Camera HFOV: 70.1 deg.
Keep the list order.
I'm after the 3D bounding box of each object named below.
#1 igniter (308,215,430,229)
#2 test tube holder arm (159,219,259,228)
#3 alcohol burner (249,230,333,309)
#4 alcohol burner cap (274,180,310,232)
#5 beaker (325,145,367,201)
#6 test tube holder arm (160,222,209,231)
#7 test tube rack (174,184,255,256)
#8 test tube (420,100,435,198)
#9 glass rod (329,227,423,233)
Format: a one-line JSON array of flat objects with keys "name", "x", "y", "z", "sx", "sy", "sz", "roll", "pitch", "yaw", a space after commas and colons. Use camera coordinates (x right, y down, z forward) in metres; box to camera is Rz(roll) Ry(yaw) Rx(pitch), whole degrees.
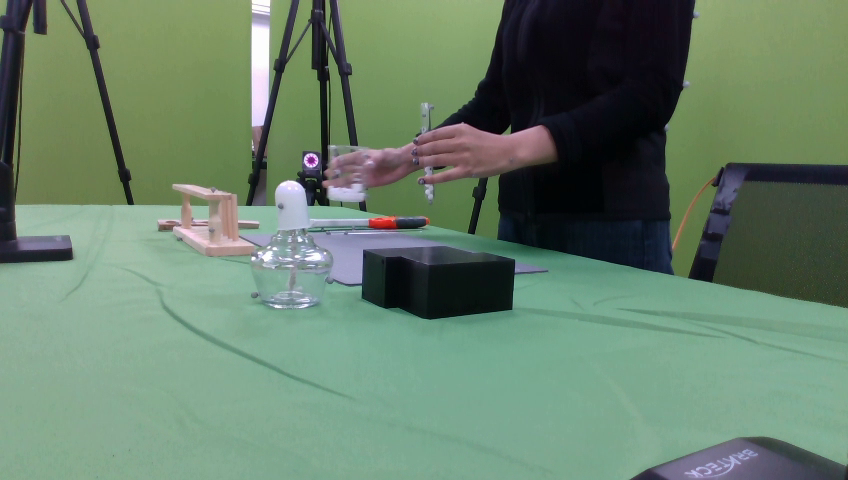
[{"name": "igniter", "x": -0.108, "y": -0.037, "z": 1.228, "sx": 0.278, "sy": 0.025, "sz": 0.057, "roll": -3, "pitch": -1, "yaw": -35}, {"name": "test tube holder arm", "x": -0.390, "y": -0.030, "z": 1.107, "sx": 0.179, "sy": 0.015, "sz": 0.013, "roll": -3, "pitch": 44, "yaw": -39}, {"name": "alcohol burner", "x": -0.125, "y": 0.004, "z": 0.568, "sx": 0.078, "sy": 0.119, "sz": 0.078, "roll": 2, "pitch": 9, "yaw": 0}, {"name": "alcohol burner cap", "x": -0.125, "y": -0.032, "z": 0.563, "sx": 0.034, "sy": 0.048, "sz": 0.034, "roll": -5, "pitch": 6, "yaw": 1}, {"name": "beaker", "x": -0.147, "y": -0.123, "z": 1.107, "sx": 0.073, "sy": 0.100, "sz": 0.084, "roll": 9, "pitch": 10, "yaw": 40}, {"name": "test tube holder arm", "x": -0.423, "y": -0.024, "z": 1.075, "sx": 0.088, "sy": 0.015, "sz": 0.010, "roll": -3, "pitch": 44, "yaw": -38}, {"name": "test tube rack", "x": -0.327, "y": -0.036, "z": 0.928, "sx": 0.067, "sy": 0.085, "sz": 0.241, "roll": -2, "pitch": 9, "yaw": -32}, {"name": "test tube", "x": 0.005, "y": -0.139, "z": 0.927, "sx": 0.017, "sy": 0.150, "sz": 0.017, "roll": -3, "pitch": -1, "yaw": 0}, {"name": "glass rod", "x": -0.087, "y": -0.019, "z": 1.148, "sx": 0.201, "sy": 0.008, "sz": 0.008, "roll": -3, "pitch": 8, "yaw": -33}]
